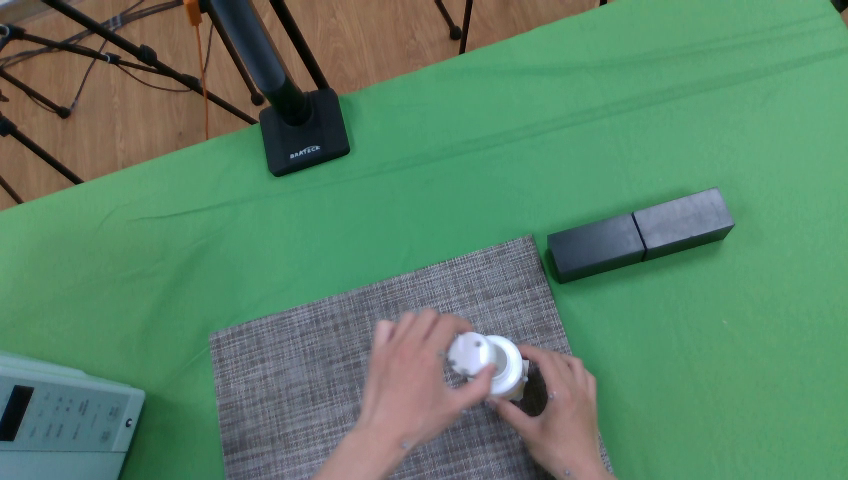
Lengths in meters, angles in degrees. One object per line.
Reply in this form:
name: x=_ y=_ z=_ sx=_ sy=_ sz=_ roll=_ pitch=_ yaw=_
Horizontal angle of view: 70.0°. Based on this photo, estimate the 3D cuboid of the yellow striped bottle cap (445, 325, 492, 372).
yellow striped bottle cap: x=0.043 y=0.106 z=0.595 sx=0.044 sy=0.019 sz=0.044 roll=-10 pitch=69 yaw=28

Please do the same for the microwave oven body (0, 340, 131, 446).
microwave oven body: x=-0.584 y=0.323 z=0.668 sx=0.325 sy=0.262 sz=0.439 roll=9 pitch=75 yaw=14

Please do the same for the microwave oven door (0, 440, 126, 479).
microwave oven door: x=-0.455 y=0.383 z=0.617 sx=0.039 sy=0.246 sz=0.354 roll=9 pitch=74 yaw=15

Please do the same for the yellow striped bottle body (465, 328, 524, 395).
yellow striped bottle body: x=0.077 y=0.135 z=0.671 sx=0.062 sy=0.121 sz=0.062 roll=-4 pitch=70 yaw=11

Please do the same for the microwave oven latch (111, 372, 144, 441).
microwave oven latch: x=-0.384 y=0.211 z=0.769 sx=0.030 sy=0.030 sz=0.079 roll=12 pitch=75 yaw=14
